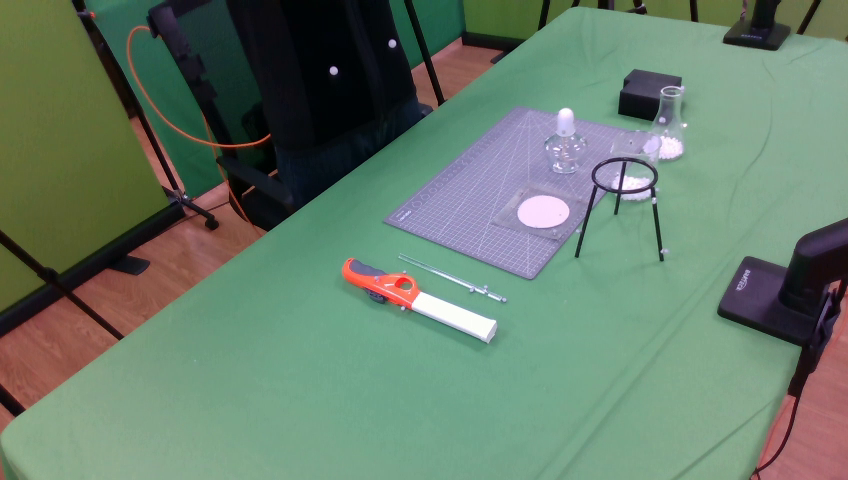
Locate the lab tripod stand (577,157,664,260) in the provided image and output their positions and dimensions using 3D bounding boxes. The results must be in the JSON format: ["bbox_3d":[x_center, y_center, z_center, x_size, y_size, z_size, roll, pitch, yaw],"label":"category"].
[{"bbox_3d":[0.292,-0.047,0.897,0.148,0.132,0.147,-7,38,6],"label":"lab tripod stand"}]

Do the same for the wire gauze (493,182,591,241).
[{"bbox_3d":[0.198,-0.048,1.011,0.120,0.011,0.125,20,50,31],"label":"wire gauze"}]

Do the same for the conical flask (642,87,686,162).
[{"bbox_3d":[0.429,-0.206,1.067,0.075,0.122,0.075,-6,40,6],"label":"conical flask"}]

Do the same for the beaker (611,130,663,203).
[{"bbox_3d":[0.346,-0.118,0.998,0.084,0.101,0.073,-17,40,-7],"label":"beaker"}]

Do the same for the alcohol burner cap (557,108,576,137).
[{"bbox_3d":[0.246,-0.205,1.047,0.034,0.048,0.033,-8,44,8],"label":"alcohol burner cap"}]

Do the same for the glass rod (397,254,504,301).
[{"bbox_3d":[0.036,0.054,0.923,0.198,0.008,0.008,22,50,31],"label":"glass rod"}]

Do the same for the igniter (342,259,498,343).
[{"bbox_3d":[-0.017,0.084,0.883,0.274,0.025,0.057,20,59,31],"label":"igniter"}]

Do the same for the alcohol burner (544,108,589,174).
[{"bbox_3d":[0.252,-0.178,1.071,0.078,0.120,0.077,-7,40,6],"label":"alcohol burner"}]
